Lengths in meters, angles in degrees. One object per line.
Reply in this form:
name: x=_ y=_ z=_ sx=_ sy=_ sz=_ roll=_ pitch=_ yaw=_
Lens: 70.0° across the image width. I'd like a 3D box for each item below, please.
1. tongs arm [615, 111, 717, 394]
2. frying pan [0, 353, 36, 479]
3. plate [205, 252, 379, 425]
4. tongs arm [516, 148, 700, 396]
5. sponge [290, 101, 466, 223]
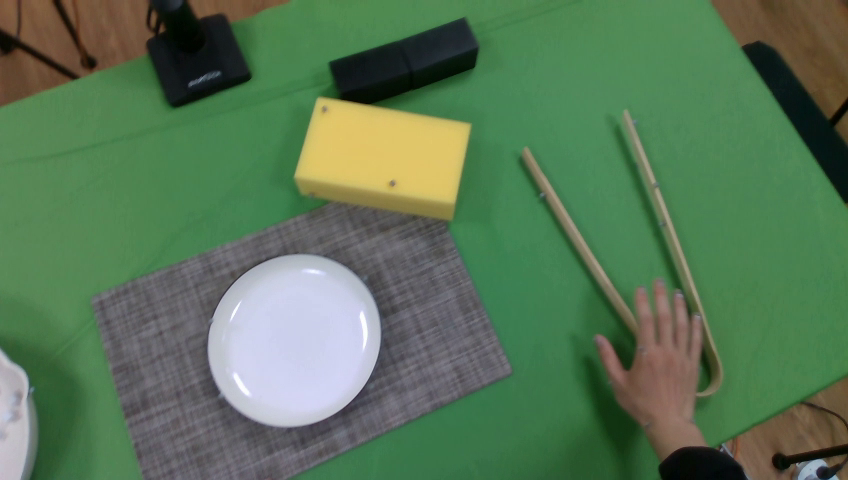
tongs arm: x=0.305 y=0.008 z=0.797 sx=0.051 sy=0.026 sz=0.382 roll=-16 pitch=76 yaw=-6
frying pan: x=-0.521 y=0.317 z=0.634 sx=0.307 sy=0.103 sz=0.484 roll=-30 pitch=68 yaw=-10
plate: x=-0.157 y=0.118 z=0.740 sx=0.208 sy=0.039 sz=0.206 roll=1 pitch=74 yaw=-2
tongs arm: x=0.229 y=0.037 z=0.790 sx=0.028 sy=0.028 sz=0.385 roll=-28 pitch=77 yaw=-12
sponge: x=-0.057 y=-0.103 z=0.799 sx=0.207 sy=0.061 sz=0.117 roll=9 pitch=71 yaw=2
